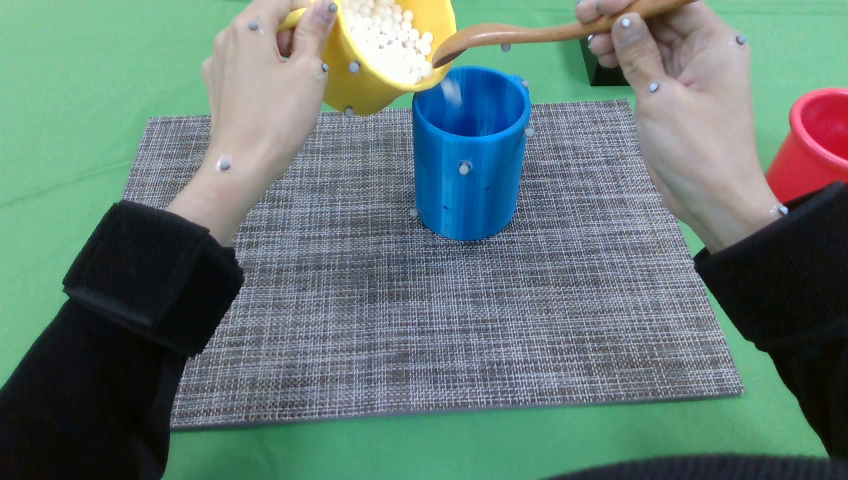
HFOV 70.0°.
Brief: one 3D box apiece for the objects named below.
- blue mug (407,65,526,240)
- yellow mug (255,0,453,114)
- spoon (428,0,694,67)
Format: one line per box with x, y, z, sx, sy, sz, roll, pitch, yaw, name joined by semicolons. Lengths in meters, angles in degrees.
0.041;-0.073;0.465;0.081;0.107;0.116;34;59;24;blue mug
-0.049;-0.140;0.405;0.131;0.063;0.100;-17;96;-39;yellow mug
0.072;-0.119;0.339;0.192;0.022;0.041;8;34;46;spoon
